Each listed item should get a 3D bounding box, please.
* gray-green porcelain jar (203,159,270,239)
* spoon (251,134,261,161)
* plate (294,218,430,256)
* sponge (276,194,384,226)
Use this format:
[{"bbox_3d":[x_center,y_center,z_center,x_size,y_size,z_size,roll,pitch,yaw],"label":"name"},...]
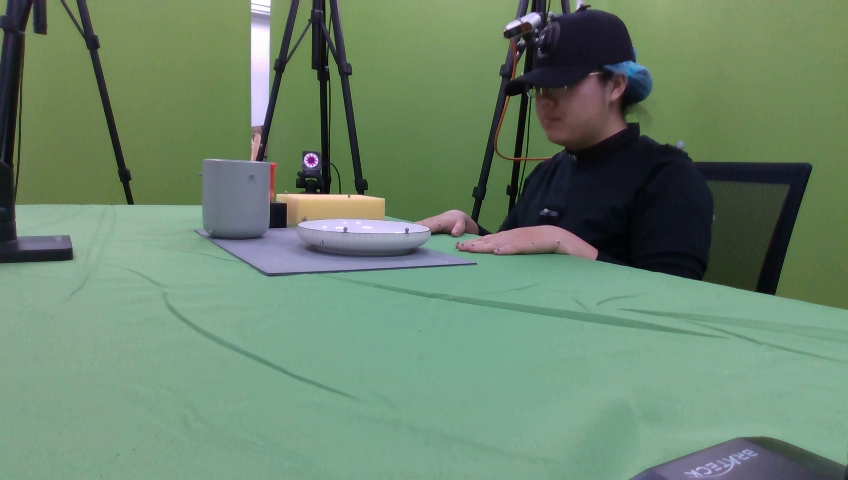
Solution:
[{"bbox_3d":[-0.310,-0.068,0.999,0.106,0.126,0.106,3,7,0],"label":"gray-green porcelain jar"},{"bbox_3d":[-0.341,-0.152,1.206,0.042,0.021,0.193,3,51,-7],"label":"spoon"},{"bbox_3d":[-0.096,-0.005,0.936,0.208,0.039,0.207,3,7,0],"label":"plate"},{"bbox_3d":[-0.202,-0.067,1.312,0.208,0.061,0.117,-3,9,-35],"label":"sponge"}]
